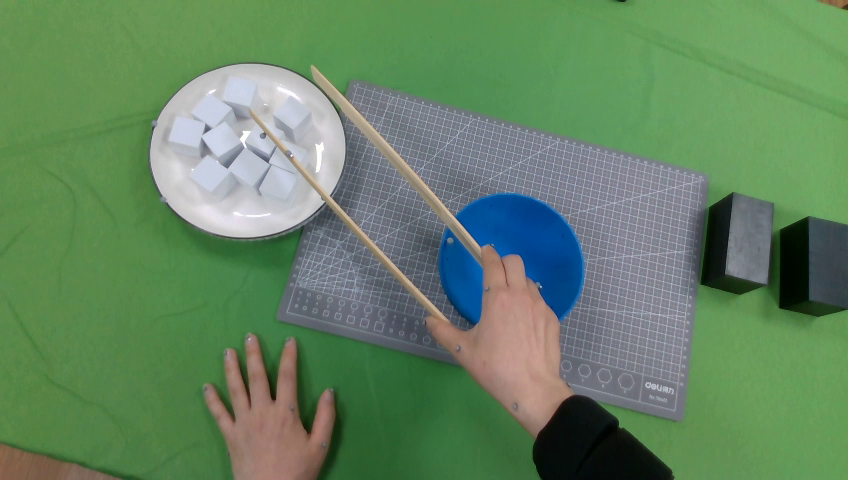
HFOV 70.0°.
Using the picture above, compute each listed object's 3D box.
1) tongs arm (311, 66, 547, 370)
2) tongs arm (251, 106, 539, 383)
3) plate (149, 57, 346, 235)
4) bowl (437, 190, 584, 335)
[{"bbox_3d":[-0.004,-0.036,0.588,0.028,0.028,0.385,-33,71,-17],"label":"tongs arm"},{"bbox_3d":[-0.039,-0.009,0.577,0.051,0.027,0.382,-37,72,-14],"label":"tongs arm"},{"bbox_3d":[-0.190,-0.101,0.667,0.208,0.039,0.206,2,74,-5],"label":"plate"},{"bbox_3d":[0.083,0.030,0.640,0.152,0.077,0.150,2,74,-7],"label":"bowl"}]
